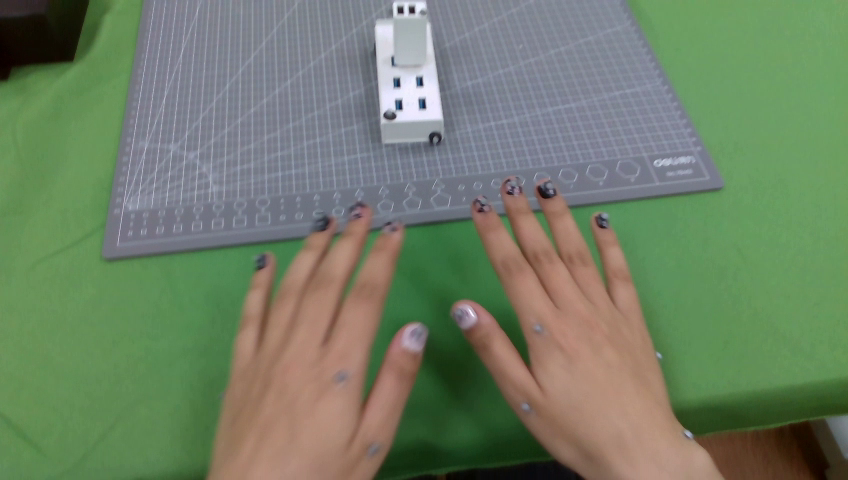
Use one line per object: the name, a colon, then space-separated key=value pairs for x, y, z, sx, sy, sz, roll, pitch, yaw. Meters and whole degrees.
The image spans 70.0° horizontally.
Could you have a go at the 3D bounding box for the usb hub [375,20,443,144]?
usb hub: x=-0.014 y=-0.133 z=0.498 sx=0.049 sy=0.025 sz=0.124 roll=-3 pitch=56 yaw=-3

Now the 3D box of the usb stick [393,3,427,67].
usb stick: x=-0.011 y=-0.155 z=0.478 sx=0.027 sy=0.059 sz=0.021 roll=-7 pitch=56 yaw=-2
